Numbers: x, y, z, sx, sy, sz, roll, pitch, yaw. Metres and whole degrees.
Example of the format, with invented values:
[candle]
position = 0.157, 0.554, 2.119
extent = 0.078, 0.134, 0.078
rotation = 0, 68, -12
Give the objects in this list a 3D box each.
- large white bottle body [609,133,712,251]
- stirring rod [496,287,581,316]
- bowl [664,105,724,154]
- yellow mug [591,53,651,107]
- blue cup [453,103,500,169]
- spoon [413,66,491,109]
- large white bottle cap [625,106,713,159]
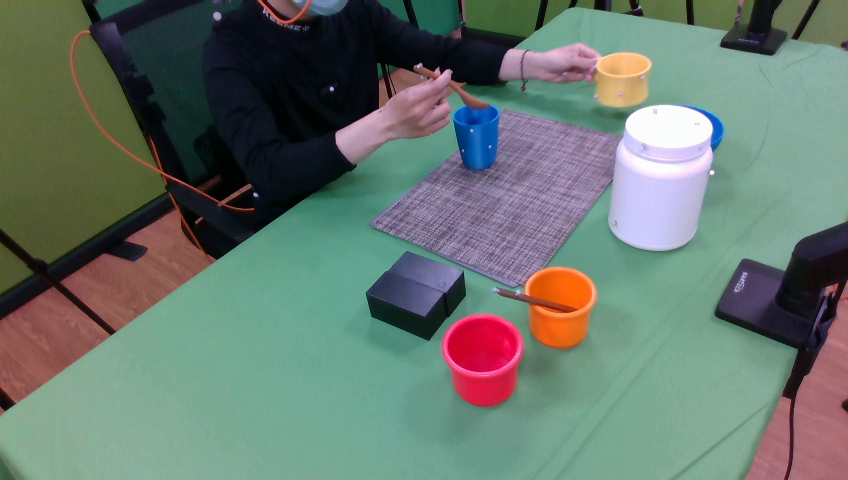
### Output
[large white bottle body]
position = 0.351, -0.090, 0.904
extent = 0.130, 0.185, 0.130
rotation = -5, 41, 4
[stirring rod]
position = 0.150, 0.080, 0.773
extent = 0.178, 0.006, 0.014
rotation = 17, 21, -42
[bowl]
position = 0.438, -0.166, 1.063
extent = 0.151, 0.077, 0.150
rotation = -4, 41, 4
[yellow mug]
position = 0.377, -0.319, 1.184
extent = 0.100, 0.064, 0.129
rotation = -30, 44, -21
[blue cup]
position = 0.099, -0.188, 1.115
extent = 0.092, 0.100, 0.092
rotation = -4, 39, 4
[spoon]
position = 0.047, -0.252, 0.999
extent = 0.041, 0.195, 0.021
rotation = 8, 84, 42
[large white bottle cap]
position = 0.342, -0.153, 0.848
extent = 0.115, 0.018, 0.114
rotation = -4, 41, 4
